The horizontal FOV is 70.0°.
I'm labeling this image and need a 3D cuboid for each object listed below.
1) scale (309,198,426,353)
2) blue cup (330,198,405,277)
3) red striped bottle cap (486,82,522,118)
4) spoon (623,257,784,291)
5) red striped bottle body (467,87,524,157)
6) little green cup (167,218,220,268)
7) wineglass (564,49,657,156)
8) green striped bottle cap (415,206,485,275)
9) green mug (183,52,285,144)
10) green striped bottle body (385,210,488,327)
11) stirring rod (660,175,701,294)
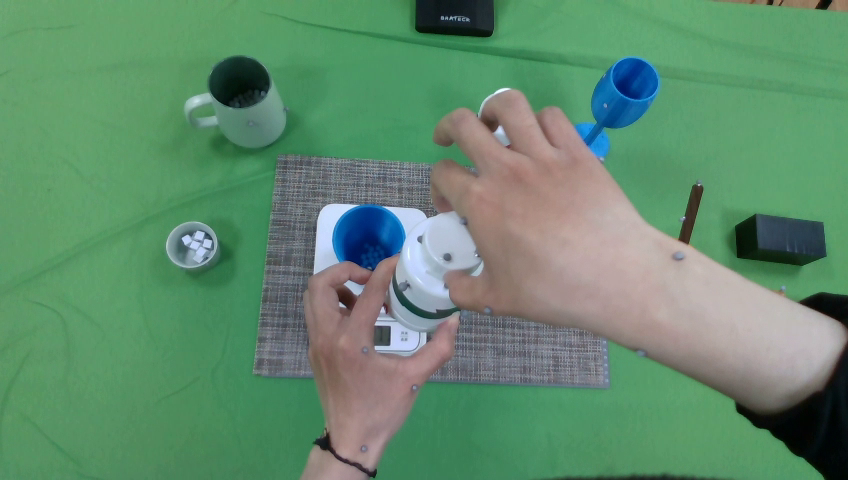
[{"bbox_3d":[-0.070,0.044,0.788,0.149,0.032,0.199,2,74,-5],"label":"scale"},{"bbox_3d":[-0.069,0.005,0.731,0.093,0.100,0.092,2,76,-7],"label":"blue cup"},{"bbox_3d":[0.102,-0.179,0.771,0.044,0.018,0.044,2,71,-4],"label":"red striped bottle cap"},{"bbox_3d":[0.348,0.048,0.771,0.022,0.192,0.041,26,76,-43],"label":"spoon"},{"bbox_3d":[0.097,-0.164,0.823,0.063,0.120,0.062,2,73,-5],"label":"red striped bottle body"},{"bbox_3d":[-0.292,0.007,0.777,0.061,0.039,0.061,2,73,-6],"label":"little green cup"},{"bbox_3d":[0.245,-0.179,0.813,0.074,0.173,0.073,1,73,-4],"label":"wineglass"},{"bbox_3d":[0.017,0.000,0.400,0.044,0.020,0.044,8,59,-13],"label":"green striped bottle cap"},{"bbox_3d":[-0.253,-0.181,0.801,0.125,0.105,0.092,-19,77,-10],"label":"green mug"},{"bbox_3d":[0.009,0.020,0.449,0.063,0.120,0.062,4,67,-10],"label":"green striped bottle body"},{"bbox_3d":[0.330,-0.002,0.784,0.014,0.177,0.006,7,32,10],"label":"stirring rod"}]
